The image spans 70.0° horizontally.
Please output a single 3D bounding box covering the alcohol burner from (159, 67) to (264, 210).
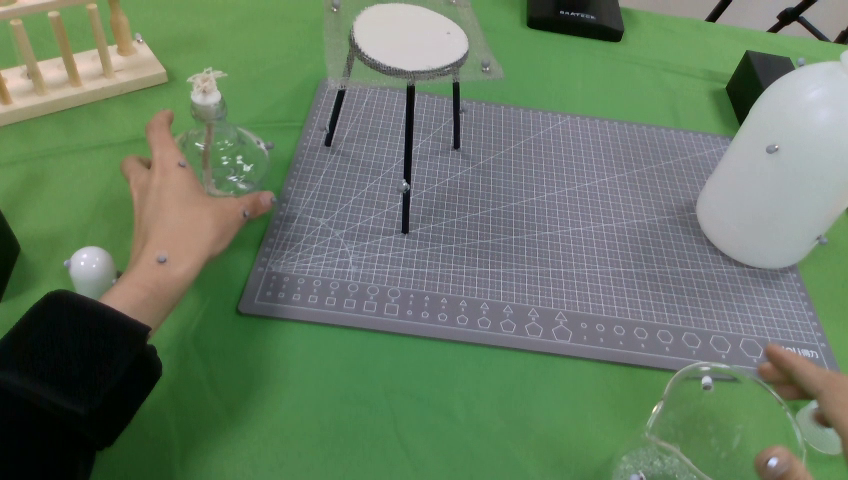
[{"bbox_3d":[-0.163,-0.080,0.462,0.078,0.120,0.077,5,48,-6],"label":"alcohol burner"}]

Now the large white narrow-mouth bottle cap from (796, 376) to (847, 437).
[{"bbox_3d":[0.284,0.117,0.424,0.038,0.024,0.037,4,49,-4],"label":"large white narrow-mouth bottle cap"}]

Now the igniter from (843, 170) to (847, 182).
[{"bbox_3d":[0.419,0.035,0.511,0.057,0.025,0.274,14,49,-7],"label":"igniter"}]

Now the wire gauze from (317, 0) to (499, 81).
[{"bbox_3d":[-0.016,-0.156,0.443,0.122,0.011,0.123,-2,51,-12],"label":"wire gauze"}]

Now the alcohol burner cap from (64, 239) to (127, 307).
[{"bbox_3d":[-0.226,0.020,0.413,0.034,0.048,0.033,6,50,-6],"label":"alcohol burner cap"}]

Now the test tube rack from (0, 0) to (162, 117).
[{"bbox_3d":[-0.366,-0.163,0.520,0.243,0.086,0.066,-26,58,-27],"label":"test tube rack"}]

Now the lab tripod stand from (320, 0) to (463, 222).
[{"bbox_3d":[-0.020,-0.110,0.493,0.149,0.132,0.147,6,50,-6],"label":"lab tripod stand"}]

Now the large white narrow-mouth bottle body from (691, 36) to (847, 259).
[{"bbox_3d":[0.295,-0.079,0.475,0.102,0.196,0.101,4,49,-4],"label":"large white narrow-mouth bottle body"}]

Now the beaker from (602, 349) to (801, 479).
[{"bbox_3d":[0.148,0.121,0.348,0.084,0.101,0.073,-1,49,-8],"label":"beaker"}]

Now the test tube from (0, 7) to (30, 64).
[{"bbox_3d":[-0.357,-0.215,0.500,0.017,0.151,0.017,5,44,-5],"label":"test tube"}]
